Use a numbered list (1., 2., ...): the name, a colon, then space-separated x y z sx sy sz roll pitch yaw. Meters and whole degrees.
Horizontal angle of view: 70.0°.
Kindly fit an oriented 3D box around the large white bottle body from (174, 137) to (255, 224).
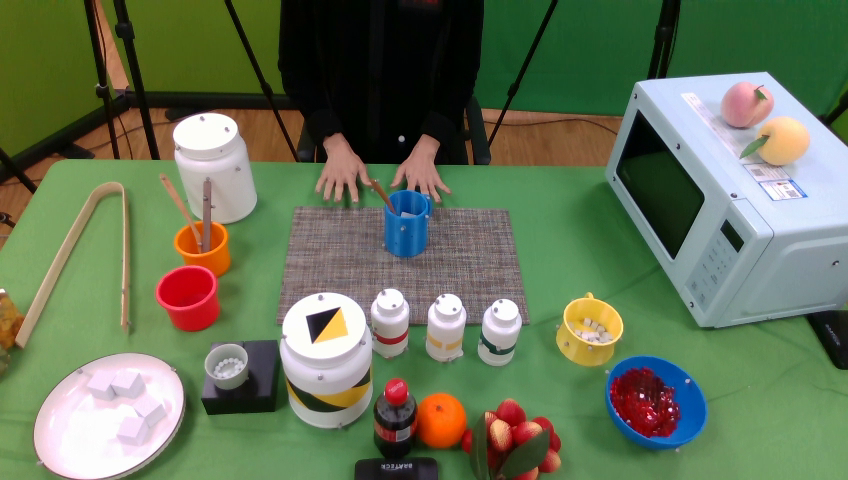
1. large white bottle body: -0.408 -0.136 1.183 0.131 0.185 0.130 2 46 -2

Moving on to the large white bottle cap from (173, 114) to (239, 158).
1. large white bottle cap: -0.403 -0.195 1.122 0.115 0.018 0.114 2 47 -2

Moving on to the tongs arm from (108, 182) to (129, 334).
1. tongs arm: -0.571 0.019 1.123 0.051 0.026 0.382 -10 47 -12

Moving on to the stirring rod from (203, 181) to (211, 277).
1. stirring rod: -0.396 -0.021 1.107 0.014 0.006 0.176 -1 89 -1

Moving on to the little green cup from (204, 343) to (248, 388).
1. little green cup: -0.294 0.190 0.909 0.061 0.039 0.061 1 48 -1

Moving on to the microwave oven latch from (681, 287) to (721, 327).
1. microwave oven latch: 0.494 0.119 1.087 0.030 0.029 0.078 -6 46 -9

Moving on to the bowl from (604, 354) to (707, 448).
1. bowl: 0.346 0.261 0.937 0.151 0.077 0.150 2 46 -2

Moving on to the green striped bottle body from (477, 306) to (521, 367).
1. green striped bottle body: 0.124 0.151 0.995 0.063 0.120 0.063 2 46 -2

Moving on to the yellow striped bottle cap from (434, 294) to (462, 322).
1. yellow striped bottle cap: 0.037 0.107 0.958 0.044 0.019 0.044 2 45 -2

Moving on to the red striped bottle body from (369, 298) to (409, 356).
1. red striped bottle body: -0.058 0.134 0.996 0.063 0.120 0.062 4 47 -4

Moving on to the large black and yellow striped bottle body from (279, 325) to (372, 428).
1. large black and yellow striped bottle body: -0.143 0.181 0.900 0.131 0.185 0.130 2 46 -2

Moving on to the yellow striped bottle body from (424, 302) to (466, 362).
1. yellow striped bottle body: 0.035 0.143 0.995 0.063 0.121 0.062 3 46 -2

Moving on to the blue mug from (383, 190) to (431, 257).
1. blue mug: -0.026 -0.039 1.172 0.082 0.106 0.116 34 53 26

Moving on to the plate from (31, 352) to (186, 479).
1. plate: -0.459 0.262 0.898 0.209 0.038 0.208 2 46 -2

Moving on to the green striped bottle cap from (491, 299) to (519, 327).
1. green striped bottle cap: 0.128 0.115 0.958 0.044 0.020 0.044 1 47 -1

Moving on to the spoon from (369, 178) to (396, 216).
1. spoon: -0.065 -0.057 1.106 0.041 0.195 0.021 17 64 26

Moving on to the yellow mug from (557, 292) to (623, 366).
1. yellow mug: 0.285 0.145 1.051 0.100 0.064 0.130 7 45 4

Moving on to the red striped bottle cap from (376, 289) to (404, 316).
1. red striped bottle cap: -0.055 0.098 0.959 0.044 0.018 0.044 0 48 0

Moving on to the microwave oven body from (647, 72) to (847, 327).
1. microwave oven body: 0.607 -0.089 1.164 0.326 0.261 0.438 -7 46 -10

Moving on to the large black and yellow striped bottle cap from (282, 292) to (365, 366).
1. large black and yellow striped bottle cap: -0.139 0.121 0.841 0.115 0.019 0.114 3 47 -3

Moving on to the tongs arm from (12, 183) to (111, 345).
1. tongs arm: -0.657 0.027 1.109 0.028 0.028 0.385 -2 45 1

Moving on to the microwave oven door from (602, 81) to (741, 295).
1. microwave oven door: 0.456 -0.107 1.162 0.039 0.245 0.353 -7 47 -11

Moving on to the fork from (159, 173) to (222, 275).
1. fork: -0.427 -0.029 1.103 0.028 0.018 0.207 -31 99 -30
